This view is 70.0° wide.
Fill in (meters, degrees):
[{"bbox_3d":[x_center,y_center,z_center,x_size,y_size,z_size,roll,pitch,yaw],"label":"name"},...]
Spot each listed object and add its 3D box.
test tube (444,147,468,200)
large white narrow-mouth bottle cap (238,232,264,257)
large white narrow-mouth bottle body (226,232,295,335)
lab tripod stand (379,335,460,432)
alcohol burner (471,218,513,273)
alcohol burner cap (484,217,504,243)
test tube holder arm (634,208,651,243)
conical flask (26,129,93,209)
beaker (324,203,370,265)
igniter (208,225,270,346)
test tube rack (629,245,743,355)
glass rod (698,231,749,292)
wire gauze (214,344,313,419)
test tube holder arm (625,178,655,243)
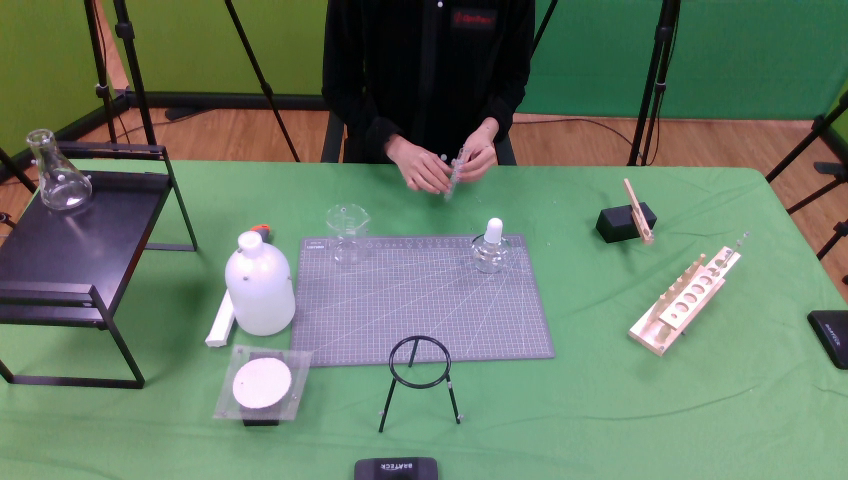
[{"bbox_3d":[0.061,-0.127,1.181,0.017,0.151,0.017,6,56,-8],"label":"test tube"},{"bbox_3d":[-0.266,0.007,0.933,0.038,0.024,0.037,2,46,-2],"label":"large white narrow-mouth bottle cap"},{"bbox_3d":[-0.270,0.065,0.995,0.102,0.195,0.101,2,46,-2],"label":"large white narrow-mouth bottle body"},{"bbox_3d":[-0.011,0.214,0.911,0.148,0.132,0.147,1,45,0],"label":"lab tripod stand"},{"bbox_3d":[0.128,0.005,1.132,0.078,0.120,0.077,0,47,0],"label":"alcohol burner"},{"bbox_3d":[0.129,-0.021,1.107,0.034,0.048,0.033,4,41,-3],"label":"alcohol burner cap"},{"bbox_3d":[0.428,-0.030,1.189,0.010,0.015,0.087,1,47,-2],"label":"test tube holder arm"},{"bbox_3d":[-0.575,-0.113,0.946,0.075,0.122,0.075,2,46,-2],"label":"conical flask"},{"bbox_3d":[-0.142,-0.009,1.137,0.084,0.101,0.073,-3,47,-7],"label":"beaker"},{"bbox_3d":[-0.331,0.072,1.099,0.057,0.025,0.275,-4,45,10],"label":"igniter"},{"bbox_3d":[0.474,0.095,1.091,0.242,0.085,0.066,-34,56,-31],"label":"test tube rack"},{"bbox_3d":[0.515,0.044,1.051,0.008,0.200,0.008,1,55,-1],"label":"glass rod"},{"bbox_3d":[-0.241,0.213,0.915,0.121,0.011,0.124,5,46,1],"label":"wire gauze"},{"bbox_3d":[0.433,-0.063,1.220,0.013,0.015,0.177,1,47,-3],"label":"test tube holder arm"}]
